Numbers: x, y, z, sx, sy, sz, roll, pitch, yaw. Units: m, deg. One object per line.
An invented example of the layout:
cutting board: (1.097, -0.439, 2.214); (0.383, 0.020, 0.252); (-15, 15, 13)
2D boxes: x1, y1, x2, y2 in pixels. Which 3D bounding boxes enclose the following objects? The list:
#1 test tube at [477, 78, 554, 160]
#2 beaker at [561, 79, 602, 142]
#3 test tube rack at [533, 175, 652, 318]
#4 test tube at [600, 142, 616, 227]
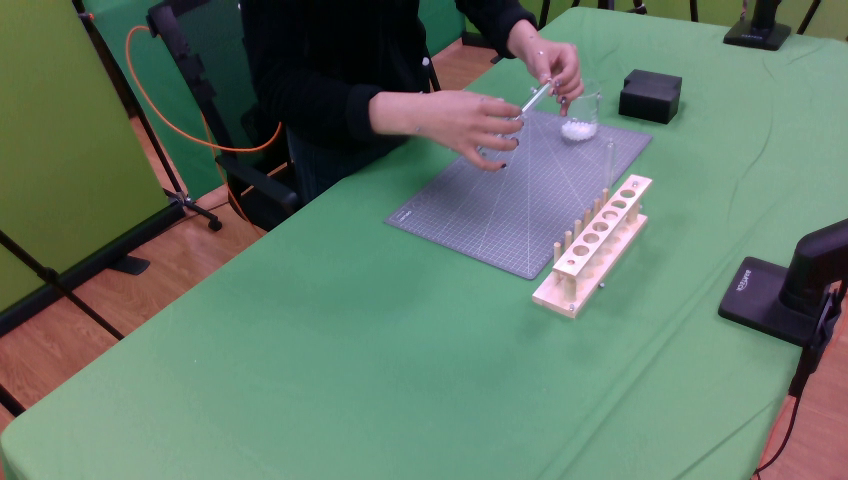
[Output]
test tube: (0.132, -0.174, 0.868); (0.150, 0.017, 0.017); (-46, 45, 5)
beaker: (0.295, -0.243, 1.150); (0.073, 0.101, 0.084); (22, 50, 32)
test tube rack: (0.251, -0.001, 0.888); (0.066, 0.085, 0.243); (22, 49, 32)
test tube: (0.275, -0.081, 0.908); (0.017, 0.151, 0.017); (-5, 40, 5)
